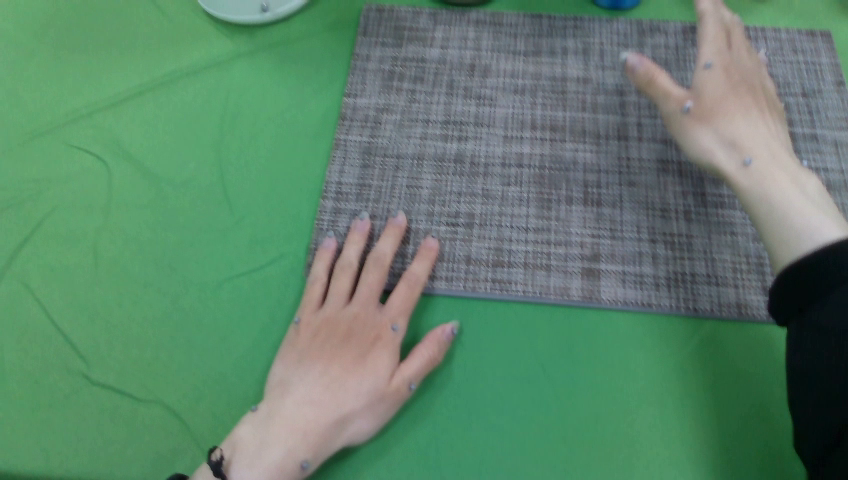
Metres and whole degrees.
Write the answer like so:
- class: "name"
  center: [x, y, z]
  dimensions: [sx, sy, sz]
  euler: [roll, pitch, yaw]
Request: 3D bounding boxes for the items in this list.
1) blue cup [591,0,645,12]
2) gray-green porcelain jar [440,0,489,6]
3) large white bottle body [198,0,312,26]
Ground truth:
- class: "blue cup"
  center: [0.190, -0.274, 0.567]
  dimensions: [0.092, 0.101, 0.092]
  euler: [-2, 61, 3]
- class: "gray-green porcelain jar"
  center: [0.040, -0.299, 0.572]
  dimensions: [0.106, 0.127, 0.105]
  euler: [-1, 62, 2]
- class: "large white bottle body"
  center: [-0.173, -0.308, 0.550]
  dimensions: [0.130, 0.186, 0.129]
  euler: [-1, 62, 2]
